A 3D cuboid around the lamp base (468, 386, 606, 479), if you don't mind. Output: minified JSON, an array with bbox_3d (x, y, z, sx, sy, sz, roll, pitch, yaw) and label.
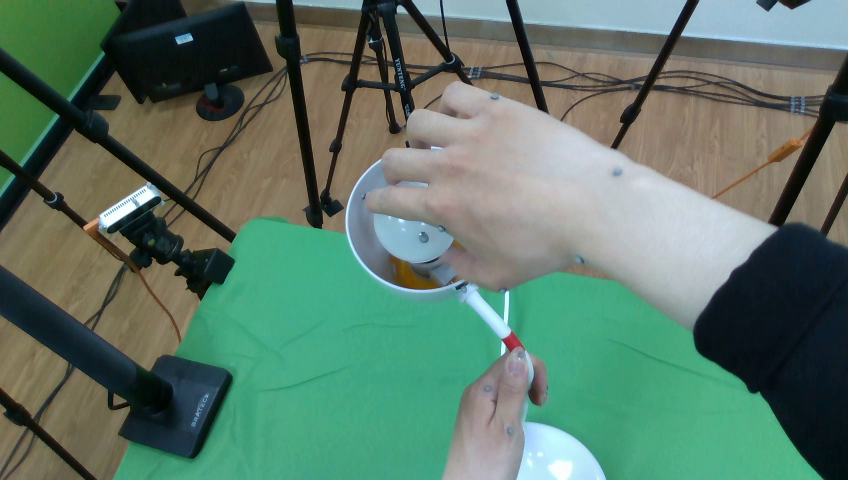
[{"bbox_3d":[0.115,0.237,0.643,0.161,0.182,0.177,-24,56,-7],"label":"lamp base"}]

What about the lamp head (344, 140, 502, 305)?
[{"bbox_3d":[0.005,0.000,0.474,0.112,0.124,0.111,-2,67,6],"label":"lamp head"}]

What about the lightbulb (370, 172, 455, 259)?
[{"bbox_3d":[-0.006,-0.010,0.448,0.059,0.108,0.059,-1,72,4],"label":"lightbulb"}]
